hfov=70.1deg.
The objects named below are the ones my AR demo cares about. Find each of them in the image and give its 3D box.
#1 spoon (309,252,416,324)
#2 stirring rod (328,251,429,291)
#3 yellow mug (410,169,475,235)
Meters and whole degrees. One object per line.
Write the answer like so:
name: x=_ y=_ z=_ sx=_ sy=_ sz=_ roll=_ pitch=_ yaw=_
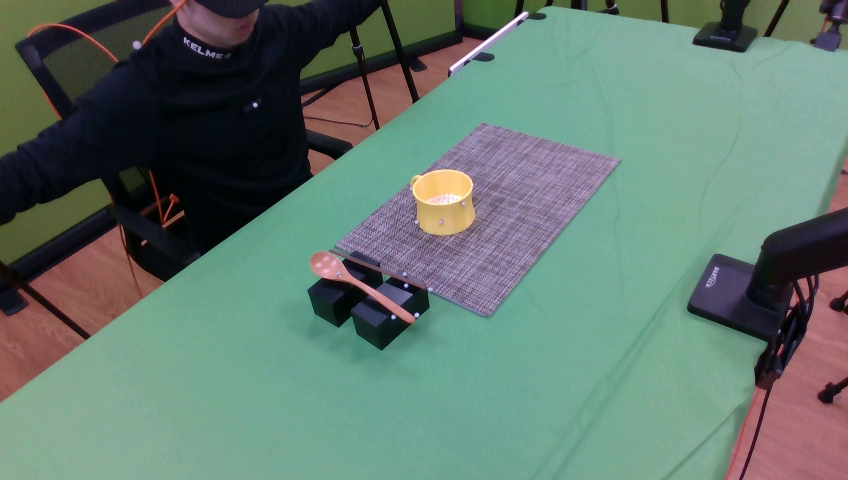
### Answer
spoon: x=-0.087 y=0.066 z=0.830 sx=0.192 sy=0.022 sz=0.042 roll=28 pitch=51 yaw=32
stirring rod: x=-0.068 y=0.043 z=0.860 sx=0.175 sy=0.006 sz=0.014 roll=18 pitch=13 yaw=28
yellow mug: x=0.022 y=-0.070 z=1.007 sx=0.129 sy=0.064 sz=0.100 roll=29 pitch=52 yaw=36
